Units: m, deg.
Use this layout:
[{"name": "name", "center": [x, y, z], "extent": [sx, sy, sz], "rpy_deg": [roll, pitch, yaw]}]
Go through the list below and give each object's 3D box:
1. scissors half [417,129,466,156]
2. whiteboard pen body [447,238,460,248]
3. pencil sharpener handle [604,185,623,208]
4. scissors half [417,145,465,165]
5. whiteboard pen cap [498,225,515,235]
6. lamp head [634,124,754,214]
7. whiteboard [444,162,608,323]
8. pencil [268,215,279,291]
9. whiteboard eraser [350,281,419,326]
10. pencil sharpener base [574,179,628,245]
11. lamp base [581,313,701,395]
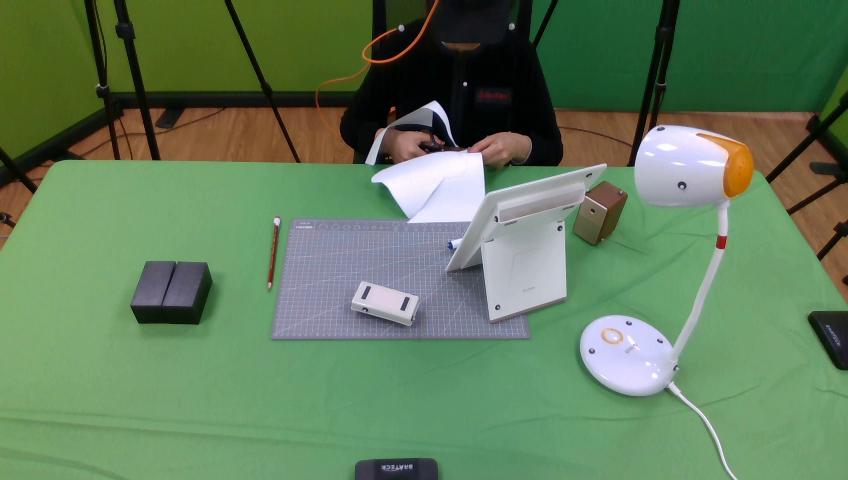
[{"name": "scissors half", "center": [0.037, -0.215, 1.357], "extent": [0.013, 0.040, 0.174], "rpy_deg": [-14, 32, -33]}, {"name": "whiteboard pen body", "center": [0.112, -0.006, 1.204], "extent": [0.141, 0.017, 0.017], "rpy_deg": [-14, 49, -18]}, {"name": "pencil sharpener handle", "center": [0.390, -0.091, 1.235], "extent": [0.030, 0.068, 0.036], "rpy_deg": [-34, 69, -31]}, {"name": "scissors half", "center": [0.037, -0.194, 1.362], "extent": [0.013, 0.040, 0.174], "rpy_deg": [-9, 4, -35]}, {"name": "whiteboard pen cap", "center": [0.166, -0.019, 1.222], "extent": [0.033, 0.018, 0.018], "rpy_deg": [-14, 49, -19]}, {"name": "lamp head", "center": [0.351, -0.089, 0.775], "extent": [0.112, 0.113, 0.122], "rpy_deg": [-30, 30, -28]}, {"name": "whiteboard", "center": [0.186, 0.025, 1.029], "extent": [0.217, 0.306, 0.143], "rpy_deg": [-14, 68, -18]}, {"name": "pencil", "center": [-0.291, 0.022, 1.164], "extent": [0.012, 0.012, 0.192], "rpy_deg": [-2, 48, -6]}, {"name": "whiteboard eraser", "center": [-0.069, 0.113, 1.065], "extent": [0.112, 0.042, 0.055], "rpy_deg": [14, 46, 9]}, {"name": "pencil sharpener base", "center": [0.355, -0.057, 1.217], "extent": [0.076, 0.107, 0.061], "rpy_deg": [-33, 56, -31]}, {"name": "lamp base", "center": [0.361, 0.144, 0.972], "extent": [0.178, 0.181, 0.160], "rpy_deg": [34, 53, 23]}]
